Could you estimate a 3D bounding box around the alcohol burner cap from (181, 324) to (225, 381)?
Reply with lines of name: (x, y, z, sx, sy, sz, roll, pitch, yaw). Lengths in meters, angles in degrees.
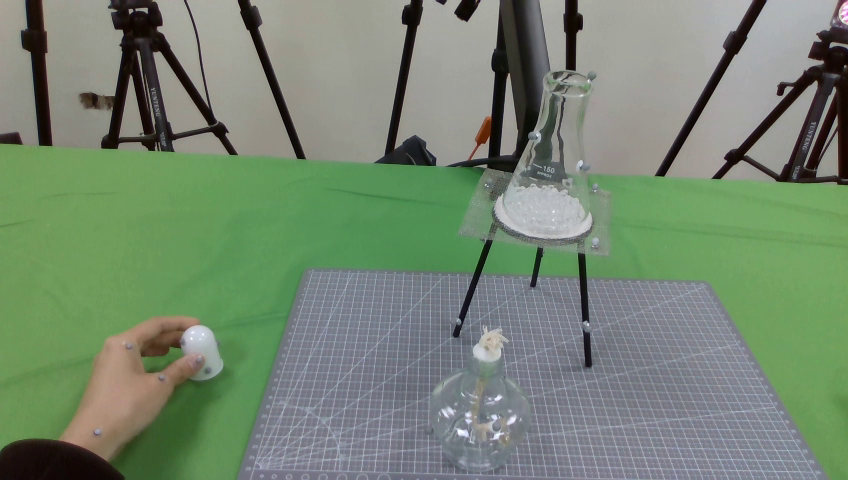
alcohol burner cap: (-0.194, 0.095, 0.528, 0.034, 0.048, 0.033, 0, 32, 1)

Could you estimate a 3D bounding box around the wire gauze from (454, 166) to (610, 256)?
wire gauze: (0.099, -0.026, 0.528, 0.121, 0.011, 0.124, 10, 36, 12)

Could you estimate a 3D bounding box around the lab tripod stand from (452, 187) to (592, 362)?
lab tripod stand: (0.103, 0.030, 0.564, 0.148, 0.132, 0.147, 3, 33, -2)

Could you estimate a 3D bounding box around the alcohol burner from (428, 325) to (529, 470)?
alcohol burner: (0.042, 0.113, 0.451, 0.078, 0.120, 0.077, 1, 32, 0)

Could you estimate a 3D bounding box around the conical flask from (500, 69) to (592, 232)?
conical flask: (0.105, -0.074, 0.492, 0.075, 0.123, 0.074, 2, 34, -1)
